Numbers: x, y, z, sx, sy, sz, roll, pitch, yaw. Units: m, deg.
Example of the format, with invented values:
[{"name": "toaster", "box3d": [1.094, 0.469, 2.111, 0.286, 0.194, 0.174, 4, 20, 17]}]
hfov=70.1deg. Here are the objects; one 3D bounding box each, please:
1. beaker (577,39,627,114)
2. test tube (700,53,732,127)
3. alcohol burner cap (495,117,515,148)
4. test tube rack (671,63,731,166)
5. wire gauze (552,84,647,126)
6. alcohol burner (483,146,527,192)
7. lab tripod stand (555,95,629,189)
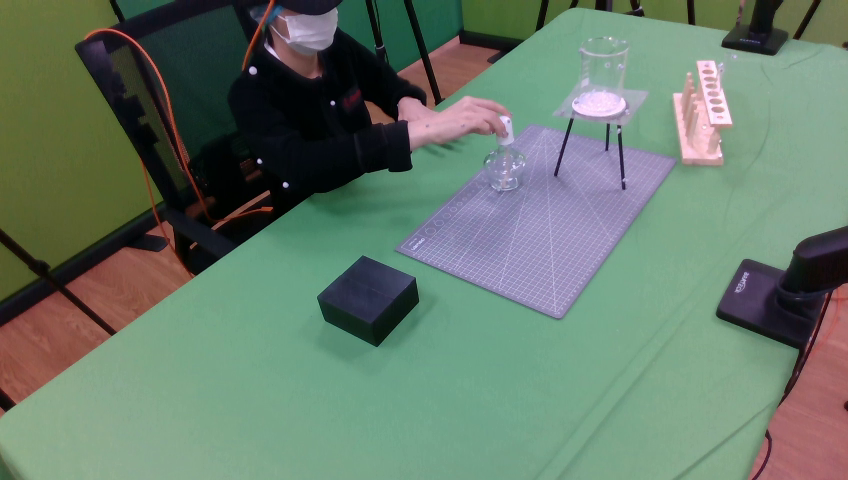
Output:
[{"name": "beaker", "box3d": [0.286, -0.264, 0.976, 0.073, 0.100, 0.084, 25, 49, 33]}, {"name": "test tube", "box3d": [0.521, -0.265, 1.081, 0.017, 0.151, 0.017, -3, 47, 3]}, {"name": "alcohol burner cap", "box3d": [0.136, -0.183, 1.019, 0.034, 0.048, 0.033, -7, 36, 6]}, {"name": "test tube rack", "box3d": [0.513, -0.241, 1.132, 0.066, 0.085, 0.242, 4, 41, 14]}, {"name": "wire gauze", "box3d": [0.293, -0.224, 1.004, 0.120, 0.011, 0.125, 19, 43, 26]}, {"name": "alcohol burner", "box3d": [0.141, -0.144, 1.050, 0.078, 0.119, 0.077, -4, 42, 4]}, {"name": "lab tripod stand", "box3d": [0.300, -0.174, 1.045, 0.148, 0.132, 0.147, -5, 38, 5]}]
